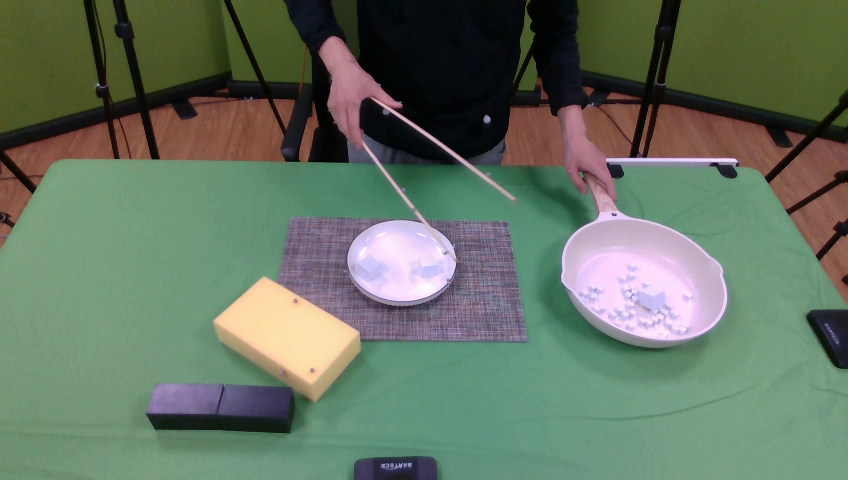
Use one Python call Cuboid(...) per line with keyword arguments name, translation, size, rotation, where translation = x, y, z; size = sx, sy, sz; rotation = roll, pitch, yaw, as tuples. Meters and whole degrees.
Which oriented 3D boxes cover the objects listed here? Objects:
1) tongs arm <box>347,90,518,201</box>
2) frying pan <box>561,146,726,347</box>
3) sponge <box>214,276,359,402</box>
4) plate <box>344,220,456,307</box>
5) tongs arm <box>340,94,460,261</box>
Cuboid(name="tongs arm", translation=(0.008, -0.172, 1.062), size=(0.386, 0.028, 0.028), rotation=(37, 99, 23))
Cuboid(name="frying pan", translation=(0.378, -0.005, 1.175), size=(0.307, 0.103, 0.484), rotation=(-4, 55, -9))
Cuboid(name="sponge", translation=(-0.224, 0.158, 0.998), size=(0.206, 0.061, 0.118), rotation=(27, 52, 18))
Cuboid(name="plate", translation=(-0.044, 0.047, 1.133), size=(0.208, 0.039, 0.206), rotation=(3, 46, -2))
Cuboid(name="tongs arm", translation=(-0.043, -0.117, 1.070), size=(0.051, 0.026, 0.383), rotation=(-44, 68, 10))
